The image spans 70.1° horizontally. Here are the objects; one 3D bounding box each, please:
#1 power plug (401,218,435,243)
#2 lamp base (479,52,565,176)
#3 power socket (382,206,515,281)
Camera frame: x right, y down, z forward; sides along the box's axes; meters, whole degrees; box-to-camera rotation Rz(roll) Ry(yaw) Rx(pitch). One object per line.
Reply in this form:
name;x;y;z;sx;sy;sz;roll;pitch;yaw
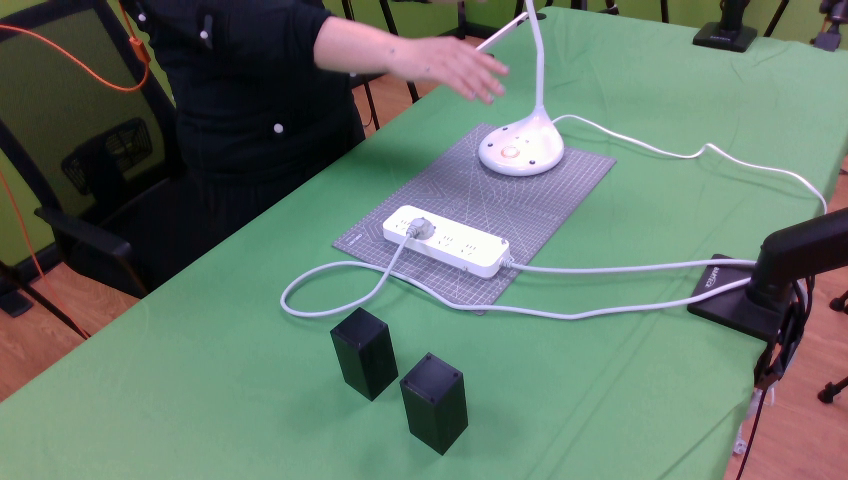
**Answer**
power plug;-0.014;-0.006;0.937;0.073;0.053;0.035;-37;47;-26
lamp base;0.181;-0.235;1.094;0.159;0.181;0.179;18;44;27
power socket;0.032;0.002;0.950;0.225;0.033;0.072;21;49;29
